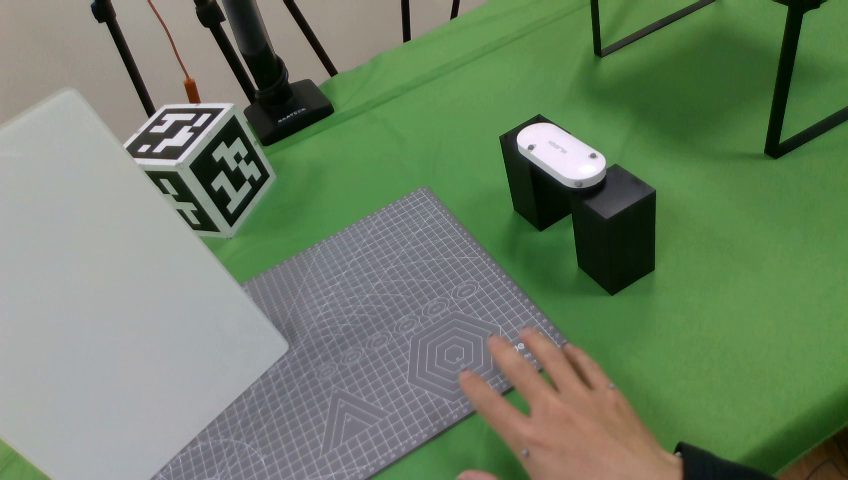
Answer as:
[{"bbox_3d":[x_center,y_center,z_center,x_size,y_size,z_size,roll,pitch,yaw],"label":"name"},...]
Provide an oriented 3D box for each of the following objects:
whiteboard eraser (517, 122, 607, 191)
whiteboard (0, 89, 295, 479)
[{"bbox_3d":[0.122,-0.078,0.547,0.041,0.019,0.100,-30,45,-12],"label":"whiteboard eraser"},{"bbox_3d":[-0.311,0.056,0.554,0.217,0.308,0.143,-44,29,-22],"label":"whiteboard"}]
